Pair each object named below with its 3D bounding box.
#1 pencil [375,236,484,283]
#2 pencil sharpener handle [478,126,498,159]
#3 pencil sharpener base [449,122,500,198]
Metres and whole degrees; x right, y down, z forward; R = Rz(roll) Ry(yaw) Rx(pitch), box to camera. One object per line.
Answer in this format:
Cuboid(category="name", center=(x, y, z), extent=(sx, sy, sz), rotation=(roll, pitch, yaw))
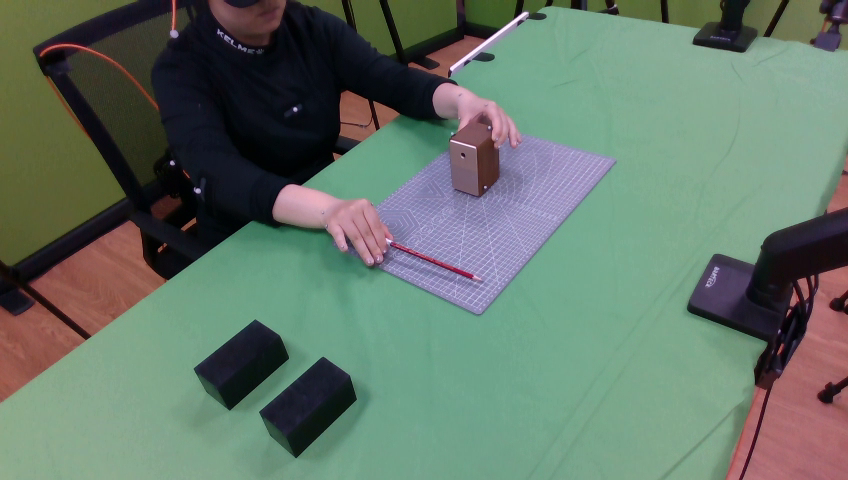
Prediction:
Cuboid(category="pencil", center=(0.006, 0.030, 0.921), extent=(0.193, 0.012, 0.012), rotation=(22, 48, 23))
Cuboid(category="pencil sharpener handle", center=(0.119, -0.179, 1.075), extent=(0.035, 0.068, 0.031), rotation=(20, 47, 30))
Cuboid(category="pencil sharpener base", center=(0.091, -0.141, 1.053), extent=(0.061, 0.107, 0.077), rotation=(21, 47, 30))
